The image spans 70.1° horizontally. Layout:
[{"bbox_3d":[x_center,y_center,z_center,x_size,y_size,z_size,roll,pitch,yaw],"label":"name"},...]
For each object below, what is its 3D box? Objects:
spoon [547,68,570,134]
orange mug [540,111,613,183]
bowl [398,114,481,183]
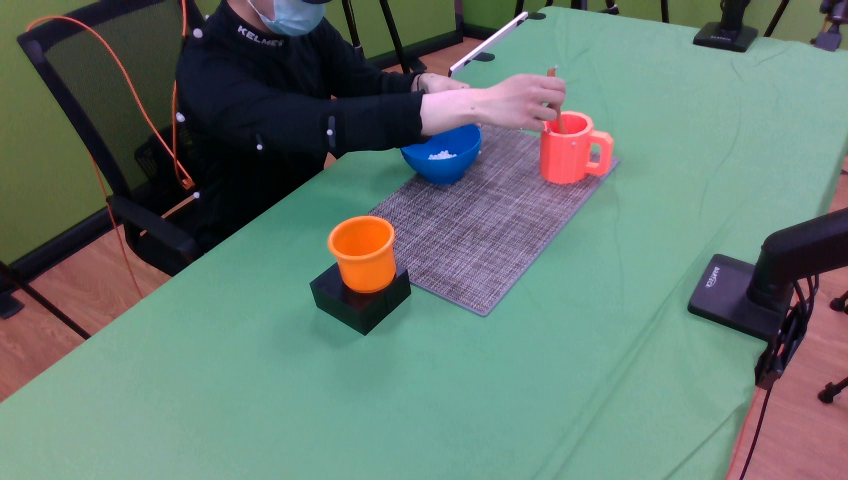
[{"bbox_3d":[0.227,-0.204,1.009,0.041,0.195,0.021,-14,40,15],"label":"spoon"},{"bbox_3d":[0.263,-0.159,1.052,0.125,0.101,0.083,12,44,28],"label":"orange mug"},{"bbox_3d":[0.031,-0.156,1.097,0.151,0.077,0.150,-4,41,4],"label":"bowl"}]
